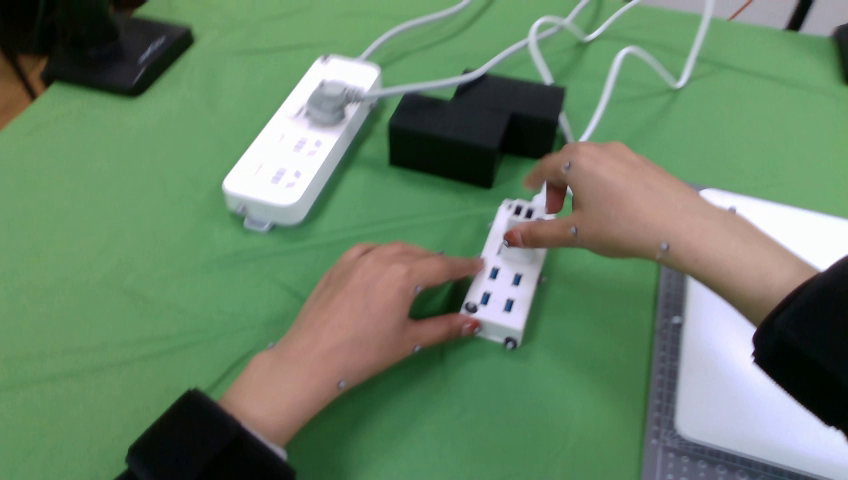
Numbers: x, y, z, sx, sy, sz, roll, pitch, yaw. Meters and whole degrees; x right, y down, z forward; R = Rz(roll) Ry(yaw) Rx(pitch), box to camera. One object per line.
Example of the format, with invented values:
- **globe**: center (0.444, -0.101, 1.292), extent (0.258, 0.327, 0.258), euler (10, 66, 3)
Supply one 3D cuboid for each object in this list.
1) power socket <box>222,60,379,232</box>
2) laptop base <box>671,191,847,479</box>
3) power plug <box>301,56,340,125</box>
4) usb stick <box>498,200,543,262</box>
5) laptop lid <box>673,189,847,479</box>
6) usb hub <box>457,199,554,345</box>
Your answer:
- **power socket**: center (-0.109, -0.099, 0.573), extent (0.072, 0.033, 0.225), euler (16, 51, 10)
- **laptop base**: center (0.365, 0.089, 0.440), extent (0.353, 0.023, 0.234), euler (15, 55, 10)
- **power plug**: center (-0.096, -0.135, 0.575), extent (0.035, 0.053, 0.072), euler (8, 43, -7)
- **usb stick**: center (0.073, -0.002, 0.465), extent (0.027, 0.059, 0.021), euler (14, 51, 12)
- **laptop lid**: center (0.365, 0.083, 0.429), extent (0.355, 0.013, 0.240), euler (16, 54, 12)
- **usb hub**: center (0.067, 0.022, 0.483), extent (0.049, 0.025, 0.124), euler (15, 51, 12)
